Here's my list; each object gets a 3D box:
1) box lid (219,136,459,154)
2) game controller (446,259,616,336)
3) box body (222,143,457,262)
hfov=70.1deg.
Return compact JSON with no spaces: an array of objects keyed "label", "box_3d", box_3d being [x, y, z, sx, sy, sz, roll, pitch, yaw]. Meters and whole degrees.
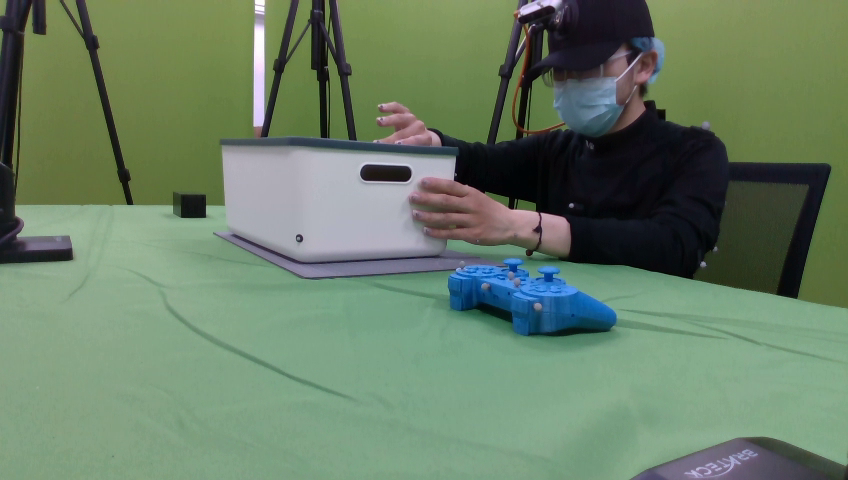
[{"label":"box lid","box_3d":[-0.145,-0.145,0.944,0.265,0.015,0.369,-3,9,-33]},{"label":"game controller","box_3d":[0.091,0.048,0.562,0.097,0.051,0.154,-7,10,-32]},{"label":"box body","box_3d":[-0.148,-0.073,0.956,0.255,0.160,0.362,-3,9,-33]}]
